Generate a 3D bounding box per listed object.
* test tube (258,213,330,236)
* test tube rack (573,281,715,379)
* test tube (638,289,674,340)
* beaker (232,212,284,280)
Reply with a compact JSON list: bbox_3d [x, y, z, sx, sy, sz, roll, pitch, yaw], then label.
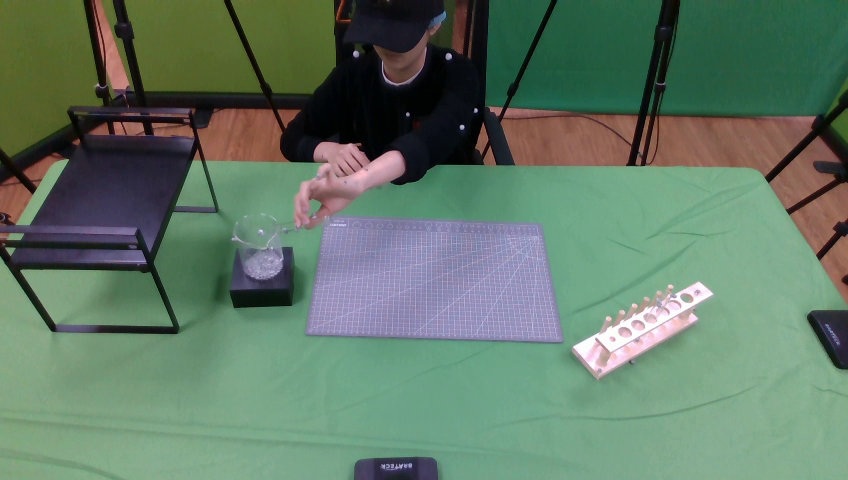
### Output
[{"bbox_3d":[-0.209,-0.025,0.969,0.150,0.017,0.017,-10,38,32],"label":"test tube"},{"bbox_3d":[0.378,0.140,1.038,0.242,0.085,0.066,-22,51,-23],"label":"test tube rack"},{"bbox_3d":[0.374,0.124,0.983,0.017,0.151,0.017,0,54,0],"label":"test tube"},{"bbox_3d":[-0.280,0.016,1.037,0.074,0.101,0.083,-18,50,-20],"label":"beaker"}]
